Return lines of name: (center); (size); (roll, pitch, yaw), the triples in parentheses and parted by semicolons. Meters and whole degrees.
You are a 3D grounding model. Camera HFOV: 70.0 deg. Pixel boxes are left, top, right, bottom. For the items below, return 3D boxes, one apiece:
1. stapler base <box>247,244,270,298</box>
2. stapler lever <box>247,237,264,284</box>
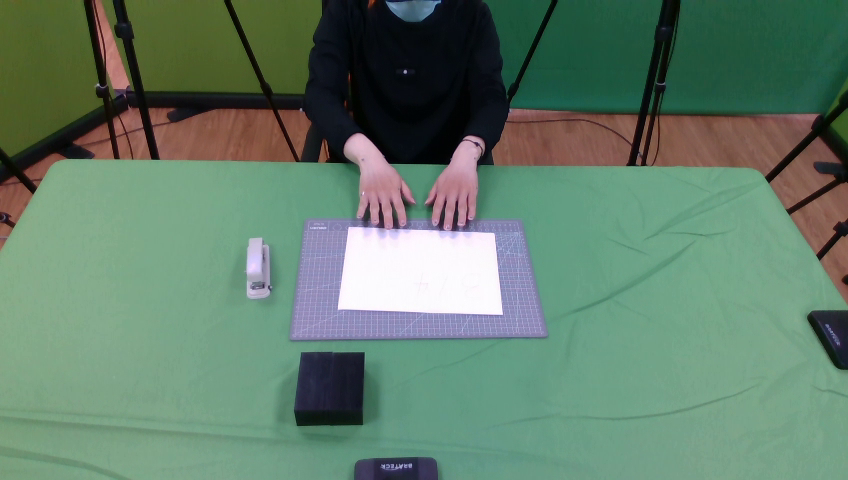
stapler base: (-0.308, 0.050, 1.123); (0.041, 0.024, 0.129); (-4, 45, -12)
stapler lever: (-0.307, 0.031, 1.106); (0.027, 0.040, 0.117); (-4, 45, -12)
